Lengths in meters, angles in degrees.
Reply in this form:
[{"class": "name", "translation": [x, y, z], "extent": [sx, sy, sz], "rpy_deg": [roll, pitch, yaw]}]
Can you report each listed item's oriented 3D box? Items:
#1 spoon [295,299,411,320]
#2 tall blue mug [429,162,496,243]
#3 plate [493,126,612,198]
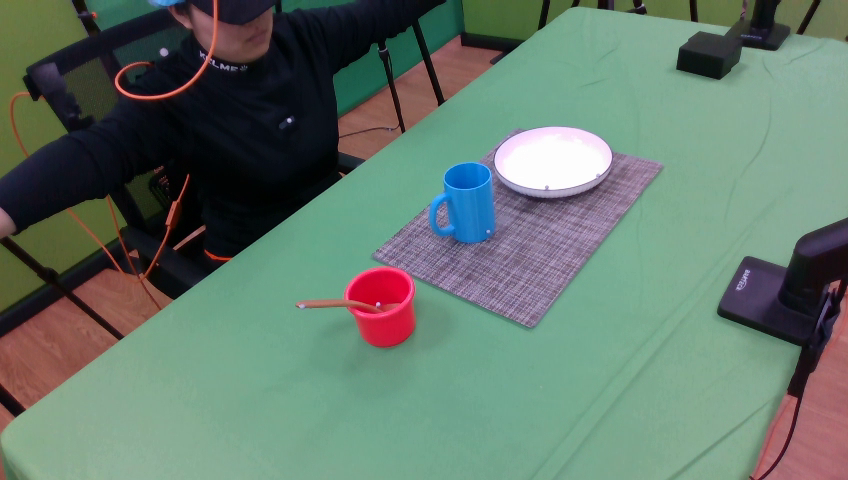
[{"class": "spoon", "translation": [-0.090, 0.089, 0.805], "extent": [0.195, 0.021, 0.041], "rpy_deg": [15, 12, -47]}, {"class": "tall blue mug", "translation": [0.066, -0.051, 0.960], "extent": [0.077, 0.108, 0.107], "rpy_deg": [17, 47, 27]}, {"class": "plate", "translation": [0.229, -0.136, 1.085], "extent": [0.207, 0.039, 0.206], "rpy_deg": [-5, 40, 5]}]
